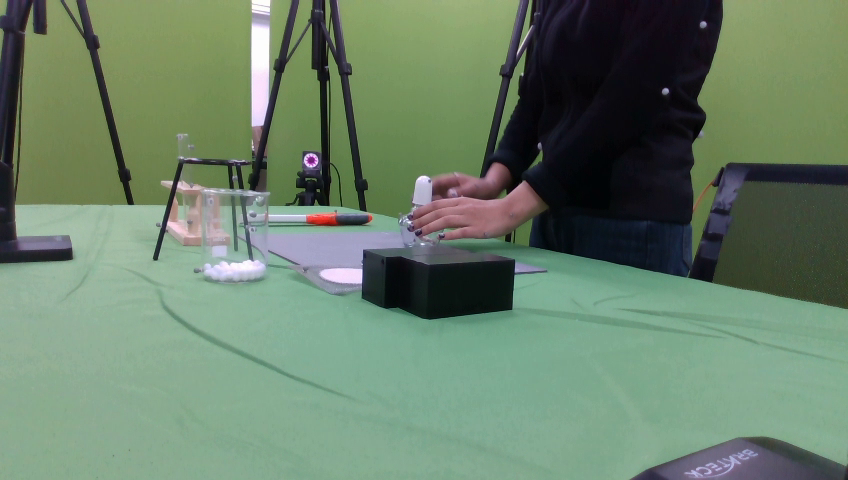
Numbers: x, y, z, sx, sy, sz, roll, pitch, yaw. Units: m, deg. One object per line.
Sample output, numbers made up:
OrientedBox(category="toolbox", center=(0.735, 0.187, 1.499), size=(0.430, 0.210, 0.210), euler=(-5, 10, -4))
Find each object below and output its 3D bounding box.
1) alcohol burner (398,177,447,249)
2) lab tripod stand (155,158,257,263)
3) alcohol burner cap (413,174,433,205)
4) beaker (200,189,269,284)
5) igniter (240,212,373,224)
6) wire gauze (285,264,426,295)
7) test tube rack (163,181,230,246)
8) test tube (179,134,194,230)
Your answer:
OrientedBox(category="alcohol burner", center=(-0.002, -0.046, 0.973), size=(0.078, 0.119, 0.078), euler=(1, 7, 0))
OrientedBox(category="lab tripod stand", center=(-0.275, -0.041, 0.797), size=(0.148, 0.131, 0.148), euler=(2, 9, 0))
OrientedBox(category="alcohol burner cap", center=(0.000, -0.081, 0.969), size=(0.034, 0.048, 0.034), euler=(5, 13, -1))
OrientedBox(category="beaker", center=(-0.209, -0.006, 0.676), size=(0.073, 0.100, 0.084), euler=(7, 8, 28))
OrientedBox(category="igniter", center=(-0.237, -0.045, 1.250), size=(0.278, 0.025, 0.057), euler=(-2, -2, -31))
OrientedBox(category="wire gauze", center=(-0.079, 0.039, 0.692), size=(0.122, 0.011, 0.124), euler=(-4, 11, -37))
OrientedBox(category="test tube rack", center=(-0.387, -0.050, 1.015), size=(0.067, 0.085, 0.241), euler=(-2, 9, -30))
OrientedBox(category="test tube", center=(-0.366, -0.089, 0.938), size=(0.017, 0.150, 0.017), euler=(-1, 9, 1))
